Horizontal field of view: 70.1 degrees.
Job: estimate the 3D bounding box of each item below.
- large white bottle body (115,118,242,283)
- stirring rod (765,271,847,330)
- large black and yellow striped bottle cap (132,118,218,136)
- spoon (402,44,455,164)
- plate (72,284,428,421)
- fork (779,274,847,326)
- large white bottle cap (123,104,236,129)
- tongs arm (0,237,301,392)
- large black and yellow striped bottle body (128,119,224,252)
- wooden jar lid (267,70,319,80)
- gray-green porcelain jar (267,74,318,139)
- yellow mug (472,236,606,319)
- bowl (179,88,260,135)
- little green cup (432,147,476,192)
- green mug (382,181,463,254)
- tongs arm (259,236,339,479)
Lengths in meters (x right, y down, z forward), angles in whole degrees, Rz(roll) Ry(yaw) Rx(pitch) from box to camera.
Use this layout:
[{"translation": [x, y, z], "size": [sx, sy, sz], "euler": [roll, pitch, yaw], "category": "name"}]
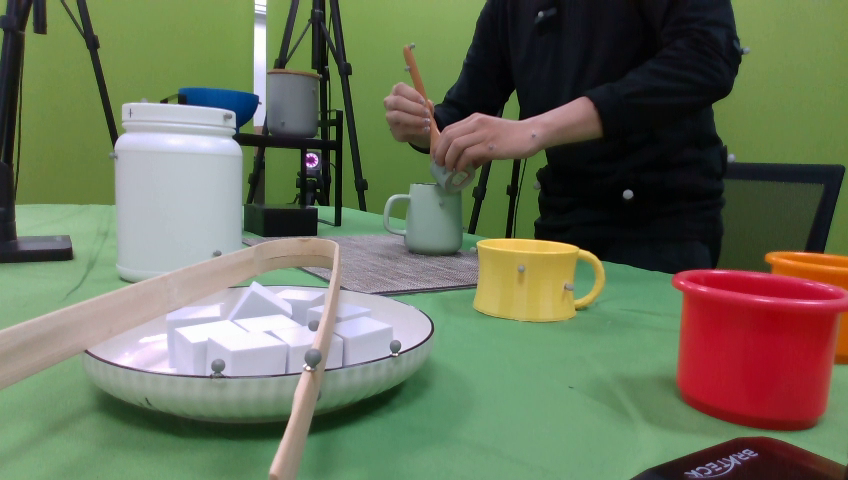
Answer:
[{"translation": [-0.270, -0.051, 0.673], "size": [0.131, 0.184, 0.130], "euler": [2, 8, 0], "category": "large white bottle body"}, {"translation": [0.352, 0.020, 0.481], "size": [0.176, 0.006, 0.014], "euler": [-40, -8, 17], "category": "stirring rod"}, {"translation": [-0.359, -0.164, 0.875], "size": [0.115, 0.019, 0.115], "euler": [2, 6, 0], "category": "large black and yellow striped bottle cap"}, {"translation": [0.005, -0.184, 0.864], "size": [0.041, 0.194, 0.021], "euler": [-19, 9, 13], "category": "spoon"}, {"translation": [-0.102, 0.067, 0.381], "size": [0.208, 0.039, 0.207], "euler": [3, 7, 0], "category": "plate"}, {"translation": [0.332, 0.018, 0.443], "size": [0.028, 0.018, 0.207], "euler": [-2, -35, -16], "category": "fork"}, {"translation": [-0.266, -0.134, 0.663], "size": [0.115, 0.018, 0.115], "euler": [3, 7, 0], "category": "large white bottle cap"}, {"translation": [-0.158, 0.038, 0.347], "size": [0.028, 0.028, 0.388], "euler": [-3, 8, 11], "category": "tongs arm"}, {"translation": [-0.361, -0.081, 0.887], "size": [0.131, 0.184, 0.130], "euler": [2, 8, 0], "category": "large black and yellow striped bottle body"}, {"translation": [-0.275, -0.339, 1.271], "size": [0.108, 0.020, 0.108], "euler": [5, 6, 0], "category": "wooden jar lid"}, {"translation": [-0.277, -0.279, 1.280], "size": [0.106, 0.126, 0.106], "euler": [2, 7, 0], "category": "gray-green porcelain jar"}, {"translation": [0.114, 0.034, 0.590], "size": [0.131, 0.064, 0.100], "euler": [3, 6, -7], "category": "yellow mug"}, {"translation": [-0.400, -0.248, 1.188], "size": [0.151, 0.077, 0.151], "euler": [2, 6, 0], "category": "bowl"}, {"translation": [0.045, -0.099, 0.864], "size": [0.062, 0.038, 0.061], "euler": [-13, -31, -7], "category": "little green cup"}, {"translation": [-0.001, -0.036, 0.921], "size": [0.126, 0.105, 0.092], "euler": [0, 8, -16], "category": "green mug"}, {"translation": [-0.074, 0.040, 0.345], "size": [0.051, 0.026, 0.384], "euler": [-1, 9, -3], "category": "tongs arm"}]
